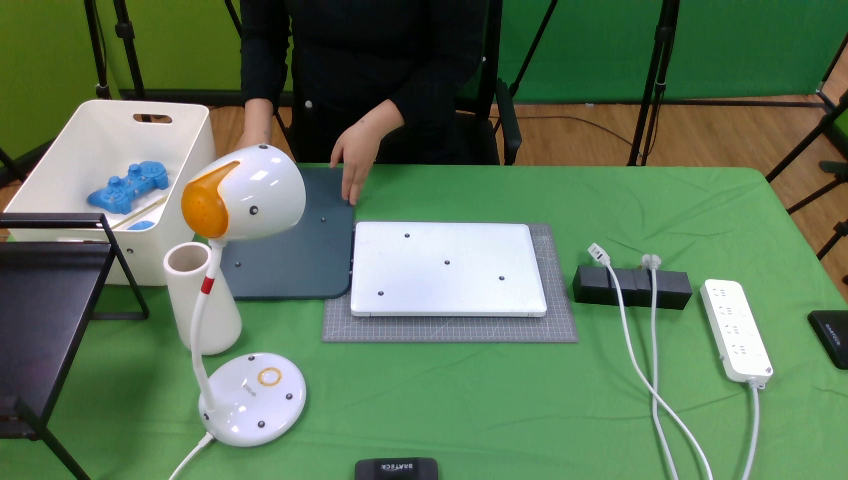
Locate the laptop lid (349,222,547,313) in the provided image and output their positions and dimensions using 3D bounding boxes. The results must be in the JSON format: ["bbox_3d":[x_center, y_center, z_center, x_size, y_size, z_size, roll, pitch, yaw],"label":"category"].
[{"bbox_3d":[0.041,0.045,1.143,0.357,0.013,0.240,2,44,-3],"label":"laptop lid"}]

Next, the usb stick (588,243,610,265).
[{"bbox_3d":[0.336,0.024,1.172,0.027,0.021,0.059,33,17,-12],"label":"usb stick"}]

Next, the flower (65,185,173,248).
[{"bbox_3d":[-0.566,-0.058,1.199,0.044,0.038,0.361,43,52,-2],"label":"flower"}]

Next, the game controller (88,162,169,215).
[{"bbox_3d":[-0.597,-0.113,1.234,0.097,0.052,0.155,29,51,20],"label":"game controller"}]

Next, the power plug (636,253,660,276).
[{"bbox_3d":[0.415,0.050,1.139,0.035,0.053,0.072,46,49,10],"label":"power plug"}]

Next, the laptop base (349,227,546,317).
[{"bbox_3d":[0.040,0.055,1.149,0.355,0.023,0.234,1,42,-4],"label":"laptop base"}]

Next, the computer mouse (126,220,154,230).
[{"bbox_3d":[-0.537,0.008,1.127,0.062,0.041,0.117,32,56,20],"label":"computer mouse"}]

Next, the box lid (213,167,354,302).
[{"bbox_3d":[-0.276,-0.024,1.206,0.263,0.015,0.369,0,46,-4],"label":"box lid"}]

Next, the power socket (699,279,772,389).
[{"bbox_3d":[0.551,0.157,1.081,0.072,0.033,0.225,5,46,1],"label":"power socket"}]

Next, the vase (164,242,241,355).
[{"bbox_3d":[-0.349,0.096,0.954,0.098,0.201,0.097,3,47,-3],"label":"vase"}]

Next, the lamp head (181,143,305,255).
[{"bbox_3d":[-0.216,-0.044,0.697,0.112,0.113,0.123,23,31,17],"label":"lamp head"}]

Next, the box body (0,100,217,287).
[{"bbox_3d":[-0.560,-0.092,1.144,0.254,0.161,0.361,3,46,-2],"label":"box body"}]

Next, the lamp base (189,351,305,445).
[{"bbox_3d":[-0.268,0.196,0.876,0.160,0.181,0.179,26,52,20],"label":"lamp base"}]
